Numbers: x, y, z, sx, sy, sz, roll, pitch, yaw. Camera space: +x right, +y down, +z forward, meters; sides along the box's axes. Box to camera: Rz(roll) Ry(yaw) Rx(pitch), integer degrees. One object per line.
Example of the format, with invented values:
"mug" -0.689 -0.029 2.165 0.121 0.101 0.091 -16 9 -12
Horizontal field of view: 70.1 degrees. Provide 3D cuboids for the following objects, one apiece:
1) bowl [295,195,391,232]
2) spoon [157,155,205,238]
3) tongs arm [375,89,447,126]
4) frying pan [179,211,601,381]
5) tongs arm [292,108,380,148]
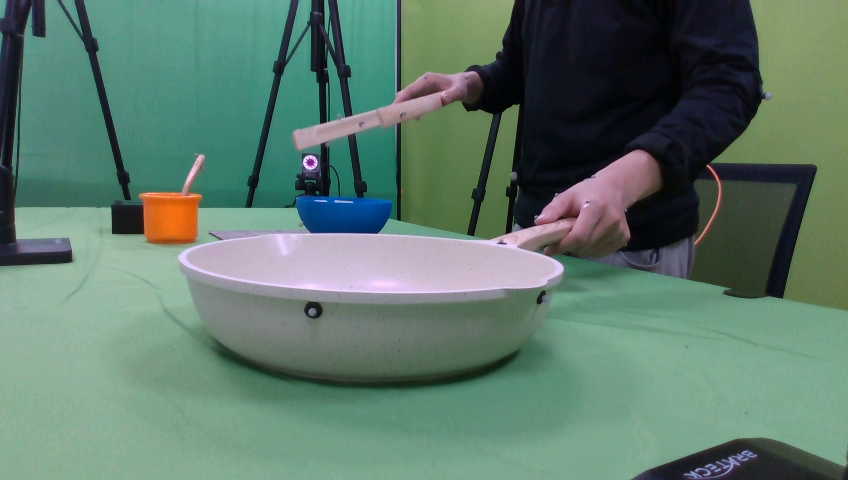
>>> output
"bowl" -0.127 -0.028 0.946 0.151 0.077 0.151 2 7 0
"spoon" -0.392 -0.076 0.998 0.041 0.193 0.021 2 -37 5
"tongs arm" -0.010 -0.204 0.910 0.028 0.028 0.388 -17 12 18
"frying pan" 0.034 0.019 0.556 0.490 0.102 0.305 -16 19 -43
"tongs arm" -0.073 -0.193 0.937 0.050 0.026 0.386 -11 13 27
